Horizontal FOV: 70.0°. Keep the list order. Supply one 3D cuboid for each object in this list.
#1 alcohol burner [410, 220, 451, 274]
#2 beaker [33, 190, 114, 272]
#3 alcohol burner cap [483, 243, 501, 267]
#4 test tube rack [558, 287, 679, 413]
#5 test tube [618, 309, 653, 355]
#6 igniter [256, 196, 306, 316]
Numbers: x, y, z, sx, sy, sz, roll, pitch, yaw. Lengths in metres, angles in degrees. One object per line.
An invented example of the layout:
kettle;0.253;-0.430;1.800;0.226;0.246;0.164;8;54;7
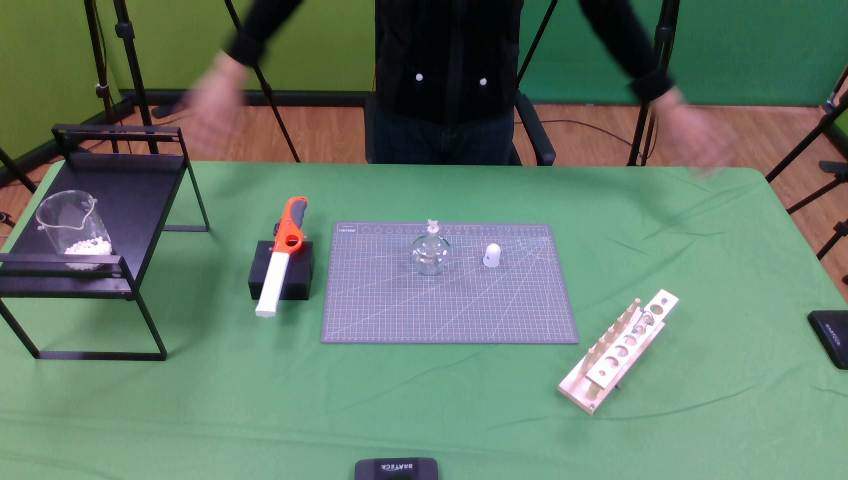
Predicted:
alcohol burner;0.013;0.007;1.120;0.078;0.120;0.077;1;48;-1
beaker;-0.493;-0.009;0.865;0.083;0.101;0.074;37;55;27
alcohol burner cap;0.132;0.025;1.161;0.034;0.048;0.033;3;47;-3
test tube rack;0.326;0.170;1.009;0.066;0.085;0.242;36;54;27
test tube;0.329;0.155;0.956;0.017;0.151;0.017;2;51;-2
igniter;-0.255;0.019;1.090;0.057;0.025;0.275;6;48;-2
